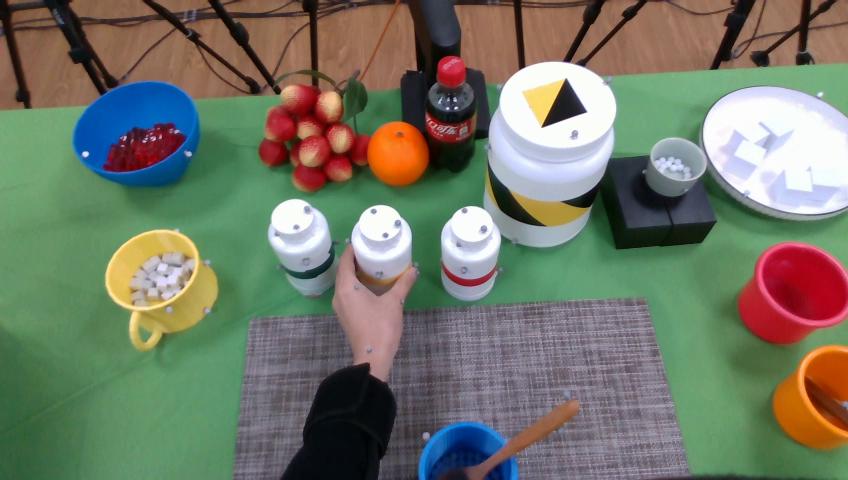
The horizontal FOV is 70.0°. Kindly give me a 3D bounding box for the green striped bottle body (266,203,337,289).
[{"bbox_3d":[-0.134,0.002,0.667,0.063,0.120,0.062,0,60,1],"label":"green striped bottle body"}]

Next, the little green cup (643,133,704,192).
[{"bbox_3d":[0.284,-0.087,0.696,0.061,0.039,0.061,0,58,0],"label":"little green cup"}]

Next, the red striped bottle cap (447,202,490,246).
[{"bbox_3d":[0.045,-0.017,0.613,0.044,0.018,0.044,1,59,-2],"label":"red striped bottle cap"}]

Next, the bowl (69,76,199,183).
[{"bbox_3d":[-0.352,-0.125,0.770,0.151,0.077,0.150,0,60,1],"label":"bowl"}]

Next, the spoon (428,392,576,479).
[{"bbox_3d":[0.061,0.181,0.514,0.022,0.194,0.041,2,50,-39],"label":"spoon"}]

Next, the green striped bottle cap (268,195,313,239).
[{"bbox_3d":[-0.137,-0.024,0.622,0.044,0.020,0.044,0,60,0],"label":"green striped bottle cap"}]

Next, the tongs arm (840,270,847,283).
[{"bbox_3d":[0.613,0.148,0.613,0.051,0.027,0.381,-36,66,-21],"label":"tongs arm"}]

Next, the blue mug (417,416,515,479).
[{"bbox_3d":[0.024,0.222,0.542,0.116,0.107,0.081,-37,65,-18],"label":"blue mug"}]

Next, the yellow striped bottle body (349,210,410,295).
[{"bbox_3d":[-0.047,0.007,0.655,0.063,0.121,0.062,0,60,0],"label":"yellow striped bottle body"}]

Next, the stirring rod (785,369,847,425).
[{"bbox_3d":[0.388,0.163,0.553,0.014,0.006,0.175,0,17,-2],"label":"stirring rod"}]

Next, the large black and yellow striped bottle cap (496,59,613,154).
[{"bbox_3d":[0.130,-0.136,0.605,0.115,0.019,0.114,-1,59,2],"label":"large black and yellow striped bottle cap"}]

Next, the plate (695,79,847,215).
[{"bbox_3d":[0.447,-0.116,0.768,0.209,0.038,0.207,0,61,1],"label":"plate"}]

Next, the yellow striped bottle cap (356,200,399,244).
[{"bbox_3d":[-0.047,-0.018,0.610,0.044,0.019,0.044,2,58,-3],"label":"yellow striped bottle cap"}]

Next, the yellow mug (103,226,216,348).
[{"bbox_3d":[-0.296,0.056,0.672,0.100,0.064,0.130,5,61,4],"label":"yellow mug"}]

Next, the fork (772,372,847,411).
[{"bbox_3d":[0.418,0.162,0.545,0.028,0.019,0.206,-38,22,-18],"label":"fork"}]

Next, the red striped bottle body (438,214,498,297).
[{"bbox_3d":[0.048,0.010,0.658,0.063,0.121,0.062,-1,59,3],"label":"red striped bottle body"}]

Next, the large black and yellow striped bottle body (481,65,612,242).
[{"bbox_3d":[0.133,-0.095,0.679,0.131,0.185,0.129,-1,60,2],"label":"large black and yellow striped bottle body"}]
